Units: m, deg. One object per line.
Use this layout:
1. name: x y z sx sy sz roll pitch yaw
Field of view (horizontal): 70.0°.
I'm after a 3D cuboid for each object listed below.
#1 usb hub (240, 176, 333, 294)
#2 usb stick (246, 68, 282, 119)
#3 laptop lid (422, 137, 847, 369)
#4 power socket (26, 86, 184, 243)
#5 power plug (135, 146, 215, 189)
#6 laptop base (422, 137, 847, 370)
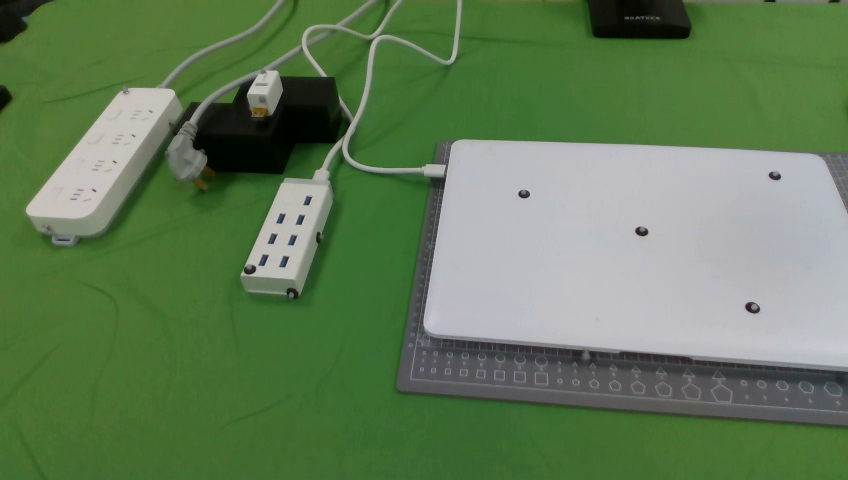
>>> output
1. usb hub: -0.122 -0.009 0.552 0.049 0.025 0.124 4 48 9
2. usb stick: -0.162 -0.146 0.609 0.021 0.027 0.058 4 51 4
3. laptop lid: 0.185 -0.006 0.519 0.356 0.013 0.239 5 51 8
4. power socket: -0.324 -0.090 0.632 0.072 0.033 0.225 5 48 7
5. power plug: -0.245 -0.069 0.606 0.072 0.053 0.035 -11 46 40
6. laptop base: 0.186 0.000 0.529 0.354 0.023 0.233 4 52 7
